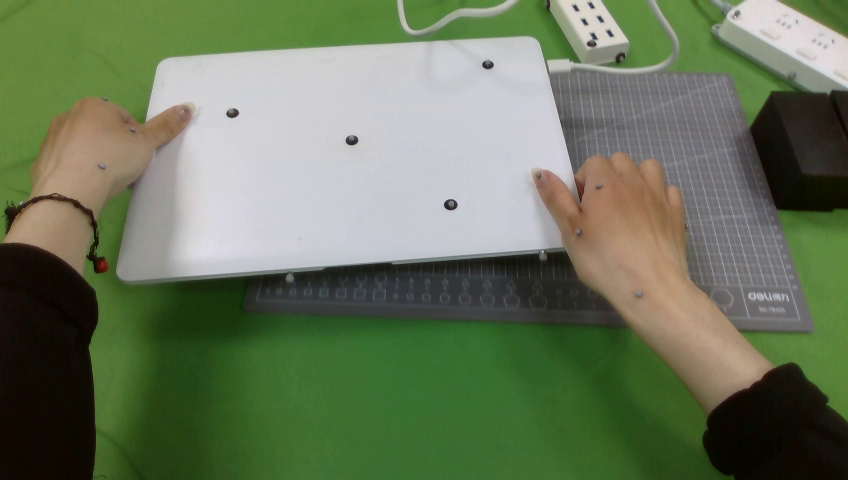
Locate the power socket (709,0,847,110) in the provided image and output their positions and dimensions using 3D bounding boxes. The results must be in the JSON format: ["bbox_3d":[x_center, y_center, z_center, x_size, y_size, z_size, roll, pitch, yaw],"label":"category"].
[{"bbox_3d":[0.407,-0.192,0.623,0.072,0.033,0.224,-34,63,-21],"label":"power socket"}]

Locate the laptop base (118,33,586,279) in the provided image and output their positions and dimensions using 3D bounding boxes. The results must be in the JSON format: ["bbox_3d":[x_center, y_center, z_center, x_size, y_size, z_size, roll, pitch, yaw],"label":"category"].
[{"bbox_3d":[-0.060,-0.081,0.514,0.354,0.023,0.233,-4,61,-2],"label":"laptop base"}]

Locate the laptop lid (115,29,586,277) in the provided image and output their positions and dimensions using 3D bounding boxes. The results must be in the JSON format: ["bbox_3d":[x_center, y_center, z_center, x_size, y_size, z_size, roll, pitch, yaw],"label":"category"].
[{"bbox_3d":[-0.060,-0.085,0.503,0.357,0.013,0.239,-3,60,-1],"label":"laptop lid"}]

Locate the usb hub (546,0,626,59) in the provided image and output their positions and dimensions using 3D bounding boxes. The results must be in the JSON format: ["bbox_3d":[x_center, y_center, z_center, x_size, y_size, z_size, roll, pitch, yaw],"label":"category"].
[{"bbox_3d":[0.172,-0.252,0.667,0.049,0.025,0.124,-13,58,-8],"label":"usb hub"}]
